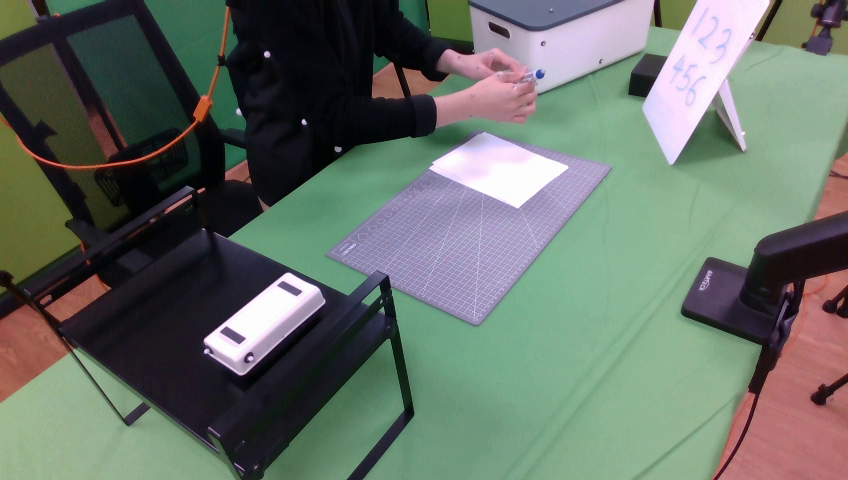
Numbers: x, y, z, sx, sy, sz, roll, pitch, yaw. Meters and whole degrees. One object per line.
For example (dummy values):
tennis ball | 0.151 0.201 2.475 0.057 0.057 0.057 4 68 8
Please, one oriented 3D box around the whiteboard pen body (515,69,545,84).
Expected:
whiteboard pen body | 0.179 -0.279 1.038 0.017 0.017 0.140 -12 12 -6

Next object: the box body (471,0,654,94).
box body | 0.319 -0.498 1.405 0.365 0.161 0.252 -26 43 -21

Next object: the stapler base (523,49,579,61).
stapler base | 0.300 -0.441 1.434 0.130 0.024 0.041 3 24 18

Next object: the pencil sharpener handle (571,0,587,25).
pencil sharpener handle | 0.378 -0.568 1.493 0.036 0.068 0.030 -32 45 -26

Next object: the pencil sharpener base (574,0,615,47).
pencil sharpener base | 0.411 -0.536 1.469 0.061 0.107 0.076 -31 45 -26

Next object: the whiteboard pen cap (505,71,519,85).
whiteboard pen cap | 0.164 -0.299 1.116 0.018 0.018 0.033 -17 41 -11

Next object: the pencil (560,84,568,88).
pencil | 0.248 -0.394 1.398 0.193 0.012 0.012 33 54 23

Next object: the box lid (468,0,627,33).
box lid | 0.312 -0.554 1.358 0.373 0.015 0.261 -26 44 -20

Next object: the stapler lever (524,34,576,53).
stapler lever | 0.297 -0.462 1.423 0.117 0.040 0.027 4 25 17

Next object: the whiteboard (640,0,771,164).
whiteboard | 0.543 -0.299 1.076 0.144 0.305 0.216 12 40 -7

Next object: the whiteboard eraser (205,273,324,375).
whiteboard eraser | -0.157 0.084 0.605 0.055 0.042 0.113 24 49 30
